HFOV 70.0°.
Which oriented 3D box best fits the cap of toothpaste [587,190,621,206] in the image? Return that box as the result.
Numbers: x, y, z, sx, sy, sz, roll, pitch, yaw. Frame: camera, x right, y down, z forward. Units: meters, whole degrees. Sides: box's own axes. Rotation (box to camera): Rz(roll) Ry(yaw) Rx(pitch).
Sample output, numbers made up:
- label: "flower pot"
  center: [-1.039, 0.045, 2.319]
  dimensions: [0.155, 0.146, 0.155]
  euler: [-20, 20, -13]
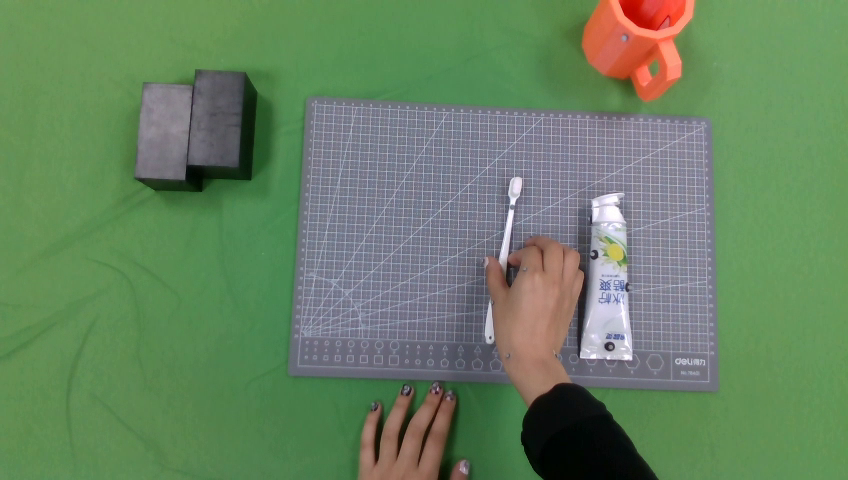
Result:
- label: "cap of toothpaste"
  center: [0.192, -0.044, 0.644]
  dimensions: [0.037, 0.037, 0.011]
  euler: [-10, 79, -4]

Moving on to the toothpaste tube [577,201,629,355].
- label: "toothpaste tube"
  center: [0.189, 0.038, 0.639]
  dimensions: [0.055, 0.034, 0.165]
  euler: [1, 86, 5]

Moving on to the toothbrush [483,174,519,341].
- label: "toothbrush"
  center: [0.082, 0.017, 0.641]
  dimensions: [0.014, 0.016, 0.181]
  euler: [11, 83, -5]

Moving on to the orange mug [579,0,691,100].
- label: "orange mug"
  center: [0.227, -0.217, 0.642]
  dimensions: [0.083, 0.101, 0.125]
  euler: [-19, 79, -5]
